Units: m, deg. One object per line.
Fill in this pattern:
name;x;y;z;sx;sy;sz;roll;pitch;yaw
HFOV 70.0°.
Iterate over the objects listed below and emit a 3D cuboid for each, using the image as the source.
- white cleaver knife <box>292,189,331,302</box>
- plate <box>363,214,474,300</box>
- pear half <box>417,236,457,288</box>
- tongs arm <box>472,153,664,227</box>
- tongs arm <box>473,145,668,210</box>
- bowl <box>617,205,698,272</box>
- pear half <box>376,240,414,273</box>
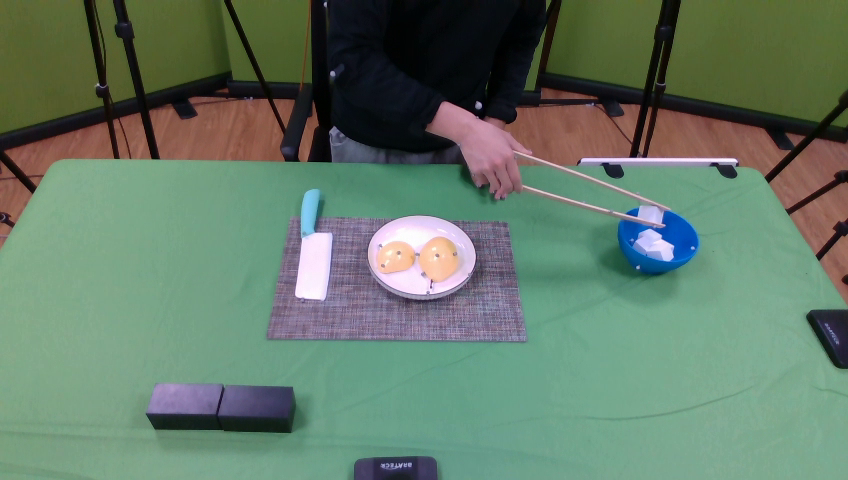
white cleaver knife;-0.215;0.006;1.178;0.066;0.021;0.284;5;49;-12
plate;-0.010;0.036;1.146;0.208;0.039;0.206;3;46;-2
pear half;0.022;0.039;1.127;0.076;0.056;0.109;5;50;7
tongs arm;0.269;-0.089;1.110;0.386;0.026;0.050;12;89;-12
tongs arm;0.275;-0.111;1.111;0.388;0.028;0.027;17;1;-12
bowl;0.443;0.010;1.182;0.151;0.077;0.150;2;46;-2
pear half;-0.058;0.026;1.146;0.070;0.031;0.088;23;43;22
